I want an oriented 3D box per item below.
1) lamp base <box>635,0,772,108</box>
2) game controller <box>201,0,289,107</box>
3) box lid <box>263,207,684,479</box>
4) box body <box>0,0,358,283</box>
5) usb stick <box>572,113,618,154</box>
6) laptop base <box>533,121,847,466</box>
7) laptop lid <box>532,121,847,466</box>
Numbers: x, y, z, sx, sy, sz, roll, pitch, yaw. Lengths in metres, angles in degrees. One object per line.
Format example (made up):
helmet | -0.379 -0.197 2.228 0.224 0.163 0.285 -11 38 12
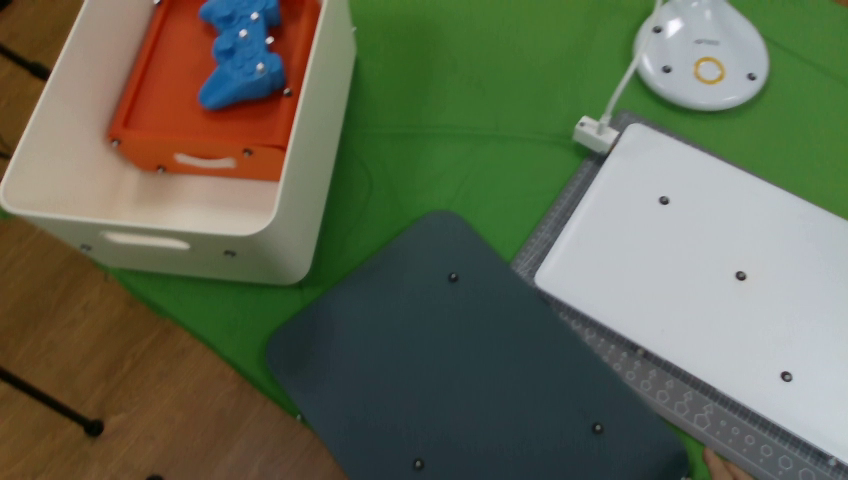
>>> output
lamp base | 0.333 -0.271 0.674 0.160 0.181 0.177 -5 63 1
game controller | -0.202 -0.225 0.671 0.097 0.052 0.154 -7 66 -4
box lid | 0.037 0.156 0.596 0.263 0.015 0.369 -38 70 -12
box body | -0.226 -0.147 0.657 0.254 0.161 0.361 6 67 5
usb stick | 0.200 -0.118 0.687 0.059 0.027 0.021 35 67 13
laptop base | 0.320 0.040 0.626 0.352 0.023 0.235 30 75 15
laptop lid | 0.317 0.037 0.615 0.355 0.013 0.241 32 74 16
